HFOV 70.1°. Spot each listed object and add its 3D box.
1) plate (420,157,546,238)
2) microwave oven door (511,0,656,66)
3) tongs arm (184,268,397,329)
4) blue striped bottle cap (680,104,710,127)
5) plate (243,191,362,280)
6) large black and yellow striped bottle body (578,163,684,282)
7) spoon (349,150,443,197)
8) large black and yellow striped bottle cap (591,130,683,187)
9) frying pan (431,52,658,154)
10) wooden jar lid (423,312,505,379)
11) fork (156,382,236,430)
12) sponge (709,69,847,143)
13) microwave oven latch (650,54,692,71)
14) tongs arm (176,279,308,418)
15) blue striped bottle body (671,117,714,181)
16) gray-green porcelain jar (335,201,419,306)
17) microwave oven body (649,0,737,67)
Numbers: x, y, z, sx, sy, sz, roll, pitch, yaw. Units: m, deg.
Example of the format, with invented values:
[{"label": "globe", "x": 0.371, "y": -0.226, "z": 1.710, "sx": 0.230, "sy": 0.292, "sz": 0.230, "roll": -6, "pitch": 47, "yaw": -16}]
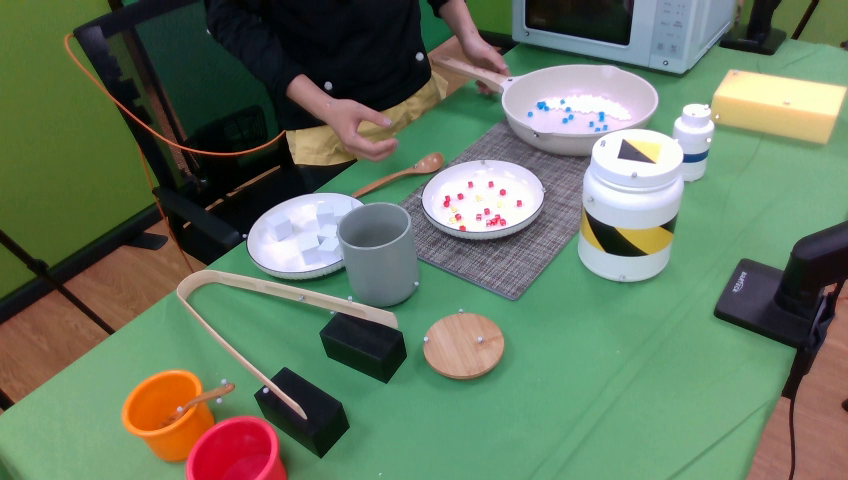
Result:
[{"label": "plate", "x": 0.099, "y": -0.067, "z": 1.017, "sx": 0.209, "sy": 0.038, "sz": 0.208, "roll": -4, "pitch": 40, "yaw": 4}, {"label": "microwave oven door", "x": 0.351, "y": -0.539, "z": 1.349, "sx": 0.353, "sy": 0.245, "sz": 0.039, "roll": 24, "pitch": 50, "yaw": 31}, {"label": "tongs arm", "x": -0.202, "y": 0.084, "z": 0.848, "sx": 0.382, "sy": 0.027, "sz": 0.051, "roll": 11, "pitch": 44, "yaw": 35}, {"label": "blue striped bottle cap", "x": 0.443, "y": -0.205, "z": 0.989, "sx": 0.044, "sy": 0.021, "sz": 0.044, "roll": -1, "pitch": 41, "yaw": 2}, {"label": "plate", "x": -0.187, "y": -0.005, "z": 0.992, "sx": 0.207, "sy": 0.039, "sz": 0.206, "roll": -4, "pitch": 41, "yaw": 4}, {"label": "large black and yellow striped bottle body", "x": 0.291, "y": -0.046, "z": 0.859, "sx": 0.131, "sy": 0.185, "sz": 0.130, "roll": -4, "pitch": 41, "yaw": 4}, {"label": "spoon", "x": -0.051, "y": -0.123, "z": 1.120, "sx": 0.194, "sy": 0.022, "sz": 0.041, "roll": -23, "pitch": 59, "yaw": -18}, {"label": "large black and yellow striped bottle cap", "x": 0.282, "y": -0.111, "z": 0.803, "sx": 0.115, "sy": 0.019, "sz": 0.114, "roll": -3, "pitch": 41, "yaw": 3}, {"label": "frying pan", "x": 0.216, "y": -0.302, "z": 1.223, "sx": 0.484, "sy": 0.103, "sz": 0.308, "roll": 29, "pitch": 49, "yaw": 24}, {"label": "wooden jar lid", "x": 0.053, "y": 0.142, "z": 0.800, "sx": 0.108, "sy": 0.021, "sz": 0.108, "roll": -5, "pitch": 39, "yaw": 4}, {"label": "fork", "x": -0.262, "y": 0.189, "z": 0.690, "sx": 0.018, "sy": 0.206, "sz": 0.028, "roll": 49, "pitch": 43, "yaw": -7}, {"label": "sponge", "x": 0.663, "y": -0.256, "z": 1.141, "sx": 0.205, "sy": 0.061, "sz": 0.118, "roll": 18, "pitch": 47, "yaw": 28}, {"label": "microwave oven latch", "x": 0.531, "y": -0.386, "z": 1.301, "sx": 0.078, "sy": 0.029, "sz": 0.030, "roll": 24, "pitch": 50, "yaw": 32}, {"label": "tongs arm", "x": -0.255, "y": 0.132, "z": 0.801, "sx": 0.028, "sy": 0.028, "sz": 0.384, "roll": -41, "pitch": 40, "yaw": -23}, {"label": "blue striped bottle body", "x": 0.449, "y": -0.165, "z": 1.022, "sx": 0.063, "sy": 0.121, "sz": 0.063, "roll": -5, "pitch": 41, "yaw": 4}, {"label": "gray-green porcelain jar", "x": -0.064, "y": 0.024, "z": 0.872, "sx": 0.106, "sy": 0.127, "sz": 0.105, "roll": -4, "pitch": 41, "yaw": 4}, {"label": "microwave oven body", "x": 0.475, "y": -0.602, "z": 1.411, "sx": 0.438, "sy": 0.261, "sz": 0.327, "roll": 23, "pitch": 50, "yaw": 32}]
